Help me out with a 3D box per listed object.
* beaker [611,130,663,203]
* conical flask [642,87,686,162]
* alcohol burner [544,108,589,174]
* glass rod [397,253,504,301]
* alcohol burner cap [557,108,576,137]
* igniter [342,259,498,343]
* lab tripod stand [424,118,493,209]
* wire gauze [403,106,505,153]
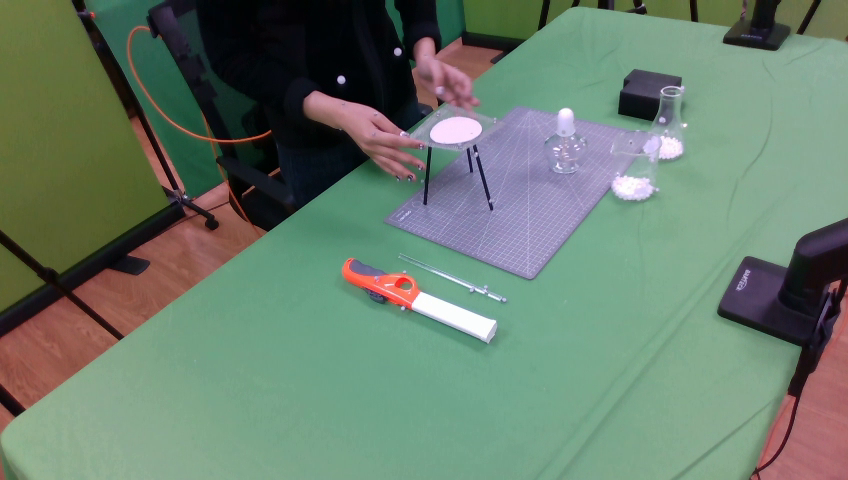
[{"bbox_3d":[0.346,-0.118,0.998,0.084,0.101,0.073,-17,40,-7],"label":"beaker"},{"bbox_3d":[0.429,-0.206,1.068,0.075,0.122,0.075,-6,40,6],"label":"conical flask"},{"bbox_3d":[0.252,-0.178,1.071,0.078,0.120,0.077,-7,40,6],"label":"alcohol burner"},{"bbox_3d":[0.036,0.054,0.922,0.198,0.008,0.008,22,50,31],"label":"glass rod"},{"bbox_3d":[0.246,-0.205,1.047,0.034,0.048,0.033,-8,44,8],"label":"alcohol burner cap"},{"bbox_3d":[-0.017,0.084,0.883,0.274,0.025,0.057,20,59,31],"label":"igniter"},{"bbox_3d":[0.061,-0.133,1.038,0.148,0.132,0.147,-6,39,6],"label":"lab tripod stand"},{"bbox_3d":[0.049,-0.181,0.992,0.120,0.011,0.125,23,48,34],"label":"wire gauze"}]
